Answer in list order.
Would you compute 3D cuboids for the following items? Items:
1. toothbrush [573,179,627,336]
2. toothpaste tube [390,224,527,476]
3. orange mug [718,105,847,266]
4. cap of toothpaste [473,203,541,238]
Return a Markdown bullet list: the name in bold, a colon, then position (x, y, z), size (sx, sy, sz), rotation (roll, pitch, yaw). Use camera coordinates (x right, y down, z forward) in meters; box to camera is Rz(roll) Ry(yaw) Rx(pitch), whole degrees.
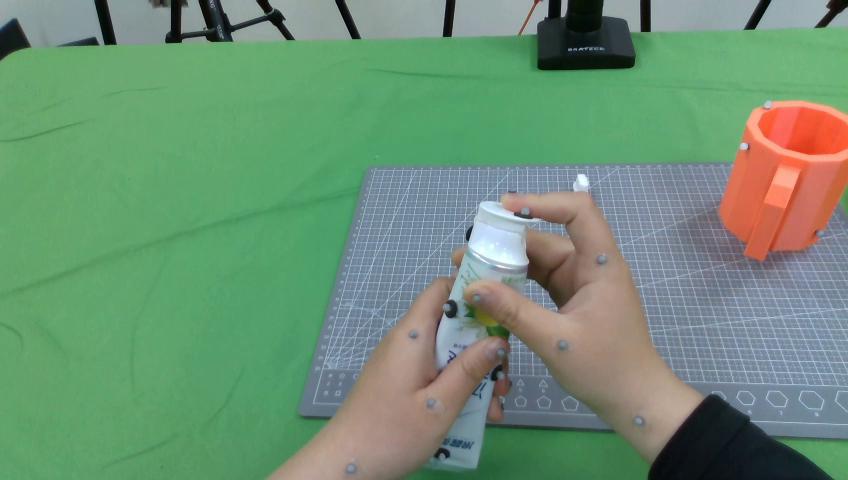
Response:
- **toothbrush**: position (0.151, 0.008, 0.526), size (0.014, 0.017, 0.180), rotation (5, 45, -5)
- **toothpaste tube**: position (0.023, 0.064, 0.346), size (0.055, 0.165, 0.034), rotation (14, 17, 0)
- **orange mug**: position (0.296, -0.040, 0.499), size (0.083, 0.102, 0.126), rotation (22, 46, 27)
- **cap of toothpaste**: position (0.044, -0.010, 0.322), size (0.037, 0.011, 0.037), rotation (10, 15, -2)
